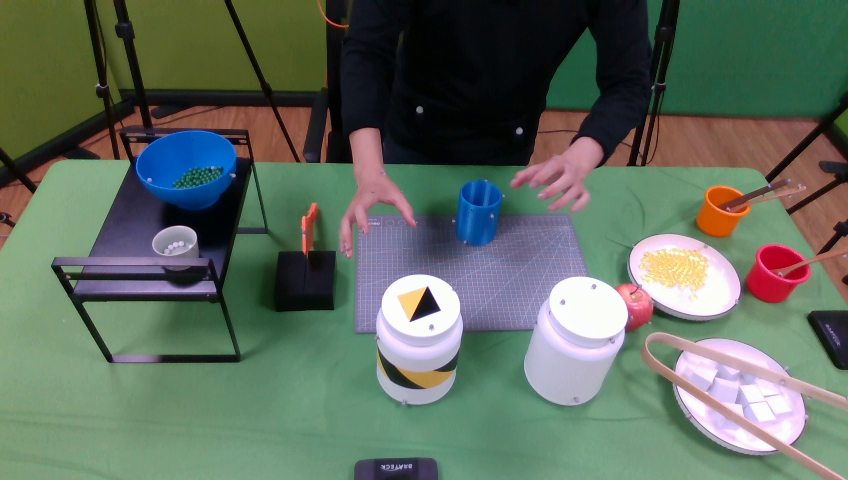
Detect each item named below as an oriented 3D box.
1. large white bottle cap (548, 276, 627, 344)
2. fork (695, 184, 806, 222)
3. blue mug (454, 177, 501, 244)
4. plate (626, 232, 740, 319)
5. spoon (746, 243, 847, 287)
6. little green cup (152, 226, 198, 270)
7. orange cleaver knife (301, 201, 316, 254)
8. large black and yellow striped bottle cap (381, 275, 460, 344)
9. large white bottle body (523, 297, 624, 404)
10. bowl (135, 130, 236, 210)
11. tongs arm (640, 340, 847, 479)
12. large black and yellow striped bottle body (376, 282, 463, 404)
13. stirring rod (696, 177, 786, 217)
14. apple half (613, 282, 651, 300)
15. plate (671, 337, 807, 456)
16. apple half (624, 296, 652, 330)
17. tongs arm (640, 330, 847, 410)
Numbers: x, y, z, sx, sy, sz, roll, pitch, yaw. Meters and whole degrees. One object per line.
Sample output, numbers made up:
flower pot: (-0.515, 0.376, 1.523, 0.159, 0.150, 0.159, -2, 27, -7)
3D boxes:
large white bottle cap: (0.240, 0.100, 0.890, 0.115, 0.018, 0.114, 3, 47, -3)
fork: (0.658, -0.074, 1.229, 0.207, 0.019, 0.028, -24, 34, 36)
blue mug: (0.106, -0.068, 1.208, 0.082, 0.106, 0.116, 6, 46, 1)
plate: (0.489, 0.071, 1.156, 0.209, 0.038, 0.208, 3, 46, -2)
spoon: (0.702, 0.044, 1.126, 0.194, 0.022, 0.041, -29, 38, 30)
little green cup: (-0.364, 0.013, 0.894, 0.061, 0.039, 0.061, 3, 46, -3)
orange cleaver knife: (-0.221, -0.028, 1.161, 0.012, 0.077, 0.210, -1, 15, -4)
large black and yellow striped bottle cap: (-0.005, 0.098, 0.875, 0.115, 0.019, 0.114, 2, 45, -2)
large white bottle body: (0.235, 0.159, 0.952, 0.131, 0.185, 0.130, 2, 47, -2)
bowl: (-0.375, -0.102, 0.978, 0.151, 0.077, 0.150, 2, 46, -2)
tongs arm: (0.500, 0.277, 0.919, 0.386, 0.028, 0.028, 34, 59, 22)
large black and yellow striped bottle body: (-0.010, 0.155, 0.937, 0.131, 0.185, 0.130, 2, 47, -2)
stirring rod: (0.648, -0.087, 1.244, 0.176, 0.006, 0.014, -25, 50, 29)
apple half: (0.356, 0.109, 1.086, 0.081, 0.075, 0.053, -13, 44, -12)
plate: (0.504, 0.254, 0.984, 0.208, 0.039, 0.206, 2, 46, -2)
apple half: (0.368, 0.135, 1.060, 0.081, 0.081, 0.032, -11, 43, -15)
tongs arm: (0.543, 0.225, 0.969, 0.384, 0.026, 0.050, 22, 52, 13)
